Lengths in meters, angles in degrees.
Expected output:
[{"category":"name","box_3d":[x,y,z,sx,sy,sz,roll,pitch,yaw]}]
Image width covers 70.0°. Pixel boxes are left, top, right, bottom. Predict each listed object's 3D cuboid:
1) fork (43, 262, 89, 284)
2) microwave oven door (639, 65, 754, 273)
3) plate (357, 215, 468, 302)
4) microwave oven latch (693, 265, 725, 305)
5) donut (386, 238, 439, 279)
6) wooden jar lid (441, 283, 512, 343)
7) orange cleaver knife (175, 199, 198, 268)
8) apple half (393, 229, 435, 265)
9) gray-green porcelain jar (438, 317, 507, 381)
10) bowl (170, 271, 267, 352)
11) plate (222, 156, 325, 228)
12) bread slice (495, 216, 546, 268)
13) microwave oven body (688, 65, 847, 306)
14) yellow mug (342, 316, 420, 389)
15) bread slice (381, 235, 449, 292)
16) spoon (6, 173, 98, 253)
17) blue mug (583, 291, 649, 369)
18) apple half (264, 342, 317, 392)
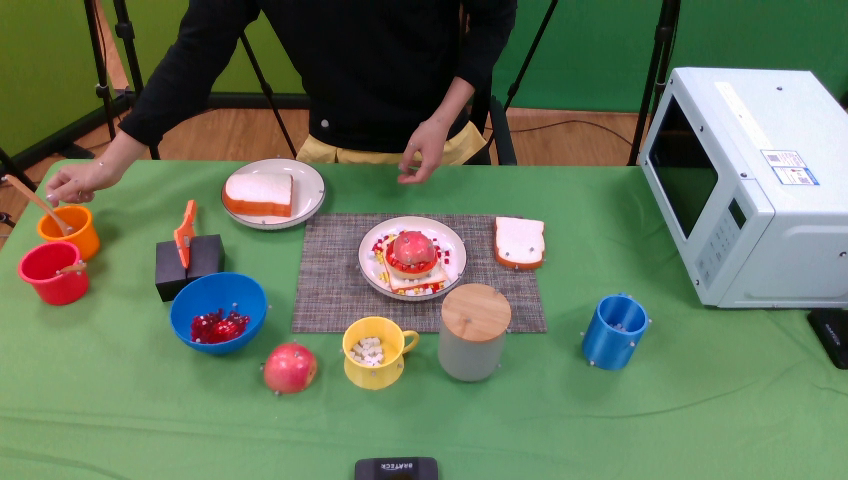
[{"category":"fork","box_3d":[-0.599,0.053,1.013,0.207,0.019,0.028,-14,30,45]},{"category":"microwave oven door","box_3d":[0.522,-0.147,1.192,0.039,0.245,0.353,0,47,-3]},{"category":"plate","box_3d":[-0.022,0.037,1.141,0.208,0.039,0.206,2,46,-2]},{"category":"microwave oven latch","box_3d":[0.523,0.081,1.115,0.030,0.029,0.078,2,46,-1]},{"category":"donut","box_3d":[-0.021,0.029,1.110,0.099,0.048,0.098,3,47,-2]},{"category":"wooden jar lid","box_3d":[0.080,0.114,0.931,0.108,0.021,0.107,1,49,-1]},{"category":"orange cleaver knife","box_3d":[-0.438,-0.017,1.137,0.012,0.077,0.210,-14,27,-6]},{"category":"apple half","box_3d":[-0.018,0.005,1.083,0.081,0.033,0.081,6,49,-7]},{"category":"gray-green porcelain jar","box_3d":[0.076,0.158,0.977,0.106,0.127,0.105,2,47,-2]},{"category":"bowl","box_3d":[-0.333,0.132,1.006,0.151,0.077,0.150,2,46,-2]},{"category":"plate","box_3d":[-0.308,-0.095,1.251,0.209,0.038,0.208,3,46,-3]},{"category":"bread slice","box_3d":[0.194,0.002,1.205,0.105,0.019,0.131,5,45,2]},{"category":"microwave oven body","box_3d":[0.669,-0.111,1.176,0.326,0.261,0.439,0,46,-3]},{"category":"yellow mug","box_3d":[-0.067,0.178,0.990,0.131,0.064,0.099,-16,50,-19]},{"category":"bread slice","box_3d":[-0.027,0.039,1.139,0.107,0.018,0.133,-12,47,-16]},{"category":"spoon","box_3d":[-0.678,-0.050,1.105,0.021,0.194,0.041,-20,26,43]},{"category":"blue mug","box_3d":[0.324,0.142,1.023,0.082,0.106,0.116,15,47,11]},{"category":"apple half","box_3d":[-0.214,0.198,0.970,0.074,0.053,0.080,19,48,10]}]
